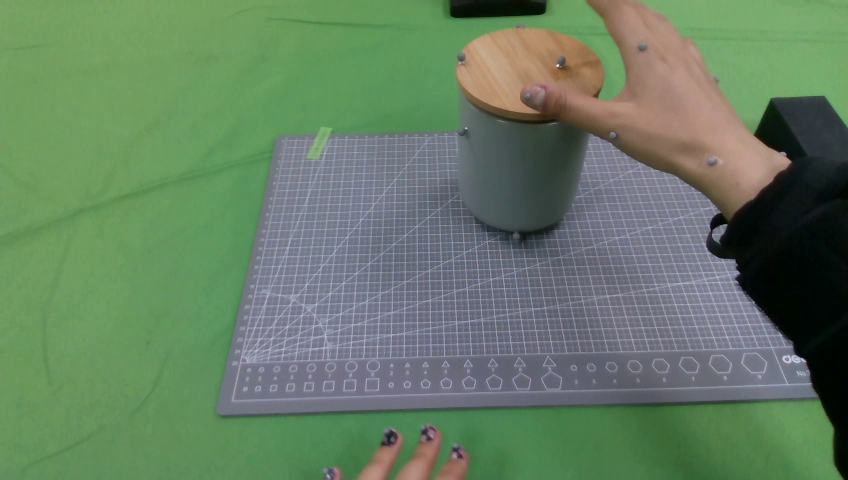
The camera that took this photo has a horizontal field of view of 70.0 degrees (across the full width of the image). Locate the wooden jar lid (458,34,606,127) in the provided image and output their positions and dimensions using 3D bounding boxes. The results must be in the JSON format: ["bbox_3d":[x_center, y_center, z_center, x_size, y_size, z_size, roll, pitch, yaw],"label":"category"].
[{"bbox_3d":[0.079,-0.116,0.451,0.108,0.021,0.107,-1,49,1],"label":"wooden jar lid"}]

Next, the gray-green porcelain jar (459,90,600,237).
[{"bbox_3d":[0.081,-0.074,0.500,0.106,0.127,0.105,-1,49,1],"label":"gray-green porcelain jar"}]
